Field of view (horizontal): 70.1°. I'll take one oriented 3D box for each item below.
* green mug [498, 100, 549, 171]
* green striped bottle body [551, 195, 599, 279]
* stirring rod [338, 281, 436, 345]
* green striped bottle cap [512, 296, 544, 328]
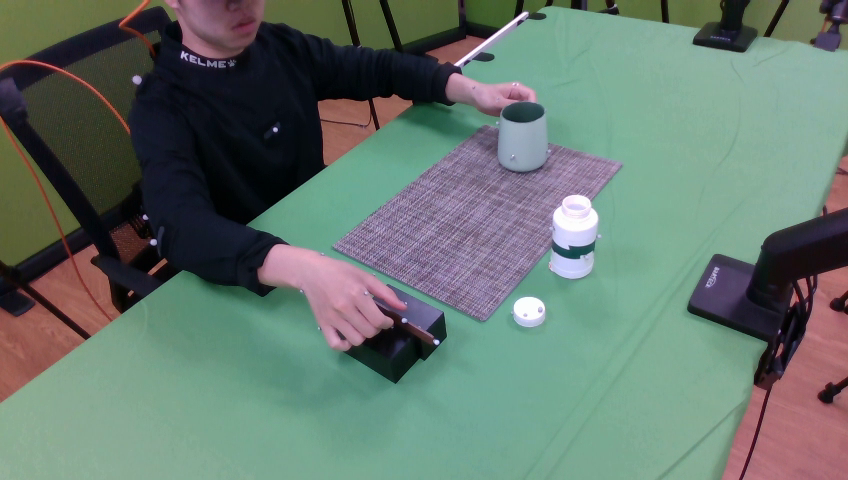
[{"bbox_3d":[0.182,-0.197,1.101,0.092,0.105,0.125,3,41,12],"label":"green mug"},{"bbox_3d":[0.217,-0.006,0.870,0.063,0.120,0.063,-4,41,4],"label":"green striped bottle body"},{"bbox_3d":[-0.053,0.094,0.796,0.174,0.014,0.006,26,46,33],"label":"stirring rod"},{"bbox_3d":[0.144,0.099,0.837,0.044,0.020,0.044,-1,43,2],"label":"green striped bottle cap"}]
